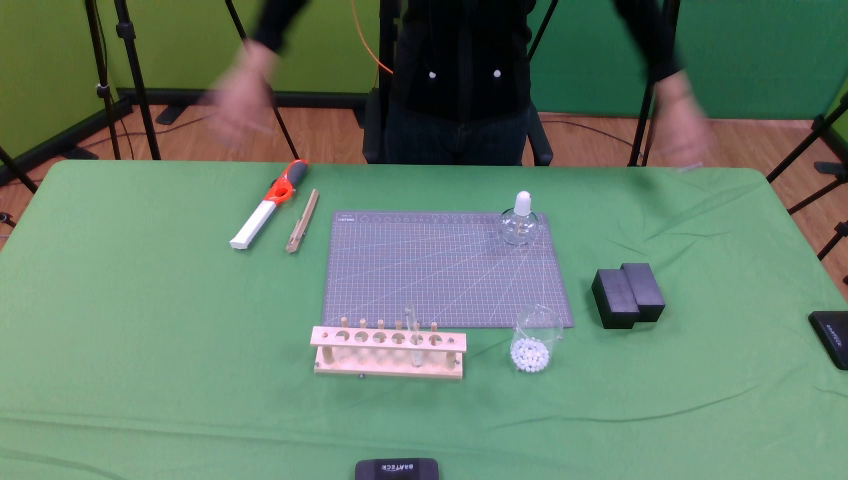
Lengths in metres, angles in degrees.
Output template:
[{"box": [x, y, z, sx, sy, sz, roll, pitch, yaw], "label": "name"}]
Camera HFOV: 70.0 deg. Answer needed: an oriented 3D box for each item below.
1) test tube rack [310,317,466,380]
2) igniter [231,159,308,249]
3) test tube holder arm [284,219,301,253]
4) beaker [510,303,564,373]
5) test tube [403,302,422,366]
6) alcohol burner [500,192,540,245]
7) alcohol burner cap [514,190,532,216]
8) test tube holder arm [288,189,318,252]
[{"box": [-0.056, 0.171, 0.987, 0.242, 0.085, 0.066, 3, 45, -1], "label": "test tube rack"}, {"box": [-0.313, -0.082, 1.251, 0.057, 0.025, 0.275, 7, 45, 18], "label": "igniter"}, {"box": [-0.254, -0.010, 1.194, 0.010, 0.015, 0.087, -14, 39, 26], "label": "test tube holder arm"}, {"box": [0.182, 0.164, 1.000, 0.074, 0.101, 0.083, 2, 46, -1], "label": "beaker"}, {"box": [-0.017, 0.149, 0.941, 0.017, 0.151, 0.017, -3, 44, 3], "label": "test tube"}, {"box": [0.190, -0.048, 1.190, 0.078, 0.120, 0.077, 1, 47, -1], "label": "alcohol burner"}, {"box": [0.192, -0.074, 1.165, 0.034, 0.048, 0.033, 1, 41, -1], "label": "alcohol burner cap"}, {"box": [-0.242, -0.043, 1.223, 0.013, 0.015, 0.177, -15, 39, 25], "label": "test tube holder arm"}]
